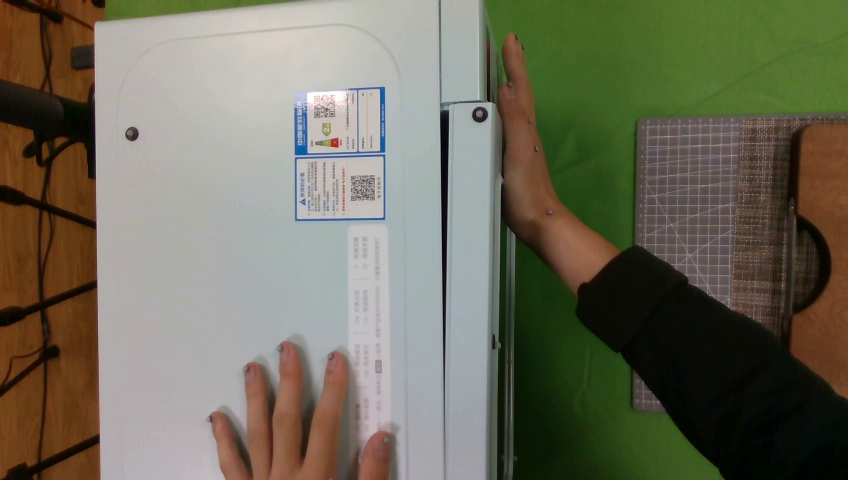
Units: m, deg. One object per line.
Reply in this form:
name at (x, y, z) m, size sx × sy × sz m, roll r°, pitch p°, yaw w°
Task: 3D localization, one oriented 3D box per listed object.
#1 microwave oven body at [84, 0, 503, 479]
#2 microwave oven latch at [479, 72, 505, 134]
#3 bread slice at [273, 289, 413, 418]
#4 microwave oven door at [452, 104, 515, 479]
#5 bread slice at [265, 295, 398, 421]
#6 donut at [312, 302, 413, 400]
microwave oven body at (-0.095, 0.046, 0.556) m, size 0.325 × 0.261 × 0.441 m, roll -1°, pitch 91°, yaw 11°
microwave oven latch at (0.068, -0.132, 0.620) m, size 0.030 × 0.029 × 0.079 m, roll -2°, pitch 91°, yaw 11°
bread slice at (-0.089, 0.110, 0.609) m, size 0.131 × 0.019 × 0.105 m, roll 20°, pitch 96°, yaw 8°
microwave oven door at (0.053, 0.085, 0.521) m, size 0.039 × 0.244 × 0.355 m, roll 0°, pitch 90°, yaw 12°
bread slice at (-0.083, 0.104, 0.540) m, size 0.134 × 0.018 × 0.107 m, roll -5°, pitch 91°, yaw 24°
donut at (-0.060, 0.106, 0.581) m, size 0.099 × 0.048 × 0.099 m, roll 0°, pitch 105°, yaw 2°
